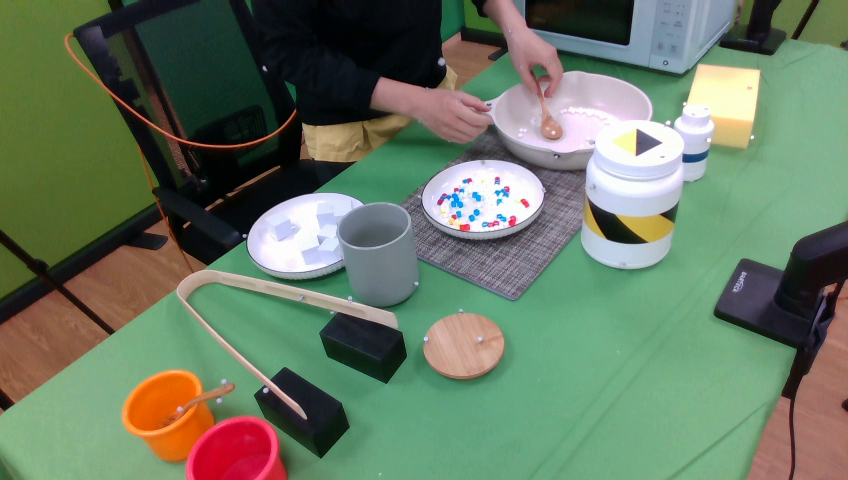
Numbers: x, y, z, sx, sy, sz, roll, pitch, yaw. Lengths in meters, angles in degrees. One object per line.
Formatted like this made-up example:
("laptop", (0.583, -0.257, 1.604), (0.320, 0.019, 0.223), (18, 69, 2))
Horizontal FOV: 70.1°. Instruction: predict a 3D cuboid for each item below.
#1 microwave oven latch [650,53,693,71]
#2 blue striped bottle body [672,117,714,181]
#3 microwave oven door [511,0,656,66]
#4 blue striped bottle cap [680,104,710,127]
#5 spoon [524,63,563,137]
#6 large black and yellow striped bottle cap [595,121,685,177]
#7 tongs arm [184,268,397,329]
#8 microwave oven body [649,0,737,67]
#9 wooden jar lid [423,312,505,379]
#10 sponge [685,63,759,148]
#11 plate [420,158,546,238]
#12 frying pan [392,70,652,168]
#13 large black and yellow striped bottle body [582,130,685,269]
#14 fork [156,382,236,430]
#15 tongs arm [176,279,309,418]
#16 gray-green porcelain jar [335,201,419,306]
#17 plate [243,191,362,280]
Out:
("microwave oven latch", (0.531, -0.386, 1.301), (0.078, 0.029, 0.030), (26, 51, 33))
("blue striped bottle body", (0.449, -0.165, 1.022), (0.063, 0.121, 0.063), (-5, 41, 4))
("microwave oven door", (0.351, -0.540, 1.350), (0.353, 0.245, 0.039), (24, 50, 31))
("blue striped bottle cap", (0.443, -0.205, 0.989), (0.044, 0.021, 0.044), (-1, 41, 2))
("spoon", (0.234, -0.281, 1.204), (0.041, 0.022, 0.192), (-14, 68, 0))
("large black and yellow striped bottle cap", (0.292, -0.126, 0.821), (0.115, 0.019, 0.114), (-5, 40, 4))
("tongs arm", (-0.202, 0.084, 0.848), (0.382, 0.027, 0.051), (11, 45, 35))
("microwave oven body", (0.475, -0.602, 1.411), (0.438, 0.261, 0.327), (23, 50, 32))
("wooden jar lid", (0.053, 0.142, 0.800), (0.108, 0.021, 0.108), (-5, 39, 4))
("sponge", (0.569, -0.263, 1.164), (0.117, 0.061, 0.207), (12, 45, 22))
("plate", (0.099, -0.067, 1.017), (0.209, 0.038, 0.208), (-4, 40, 4))
("frying pan", (0.175, -0.248, 1.166), (0.487, 0.103, 0.306), (12, 42, 9))
("large black and yellow striped bottle body", (0.301, -0.063, 0.877), (0.131, 0.185, 0.130), (-4, 41, 4))
("fork", (-0.262, 0.189, 0.690), (0.018, 0.206, 0.028), (49, 43, -7))
("tongs arm", (-0.254, 0.132, 0.801), (0.028, 0.028, 0.384), (-41, 40, -23))
("gray-green porcelain jar", (-0.064, 0.024, 0.872), (0.106, 0.127, 0.105), (-4, 41, 4))
("plate", (-0.188, -0.005, 0.992), (0.207, 0.039, 0.206), (-4, 40, 4))
